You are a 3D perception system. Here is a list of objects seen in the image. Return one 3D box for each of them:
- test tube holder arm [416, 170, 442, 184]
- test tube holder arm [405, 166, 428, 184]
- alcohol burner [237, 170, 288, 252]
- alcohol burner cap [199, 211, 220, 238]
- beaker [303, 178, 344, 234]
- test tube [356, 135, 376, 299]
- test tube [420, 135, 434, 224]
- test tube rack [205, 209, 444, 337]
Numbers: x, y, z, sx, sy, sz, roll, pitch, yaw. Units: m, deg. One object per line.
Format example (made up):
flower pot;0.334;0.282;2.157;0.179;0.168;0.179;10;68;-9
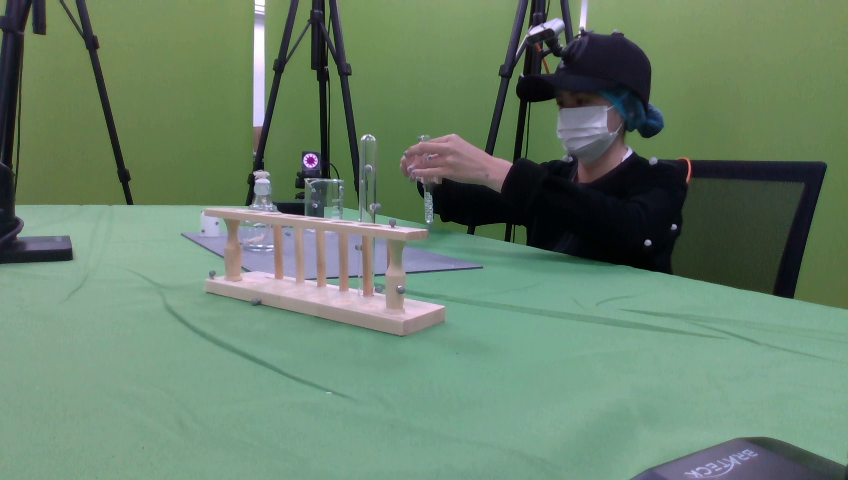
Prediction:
test tube holder arm;0.004;-0.109;1.044;0.010;0.015;0.087;-3;14;-30
test tube holder arm;-0.015;-0.118;1.082;0.013;0.015;0.178;3;12;-14
alcohol burner;-0.236;-0.042;0.882;0.078;0.119;0.078;2;9;0
alcohol burner cap;-0.356;-0.027;1.002;0.034;0.048;0.034;2;7;0
beaker;-0.189;-0.063;1.119;0.073;0.100;0.084;6;9;28
test tube;-0.053;-0.019;0.550;0.017;0.150;0.017;2;9;0
test tube;0.006;-0.101;1.019;0.017;0.150;0.017;-3;10;1
test tube rack;-0.100;0.021;0.565;0.241;0.085;0.067;7;9;32
